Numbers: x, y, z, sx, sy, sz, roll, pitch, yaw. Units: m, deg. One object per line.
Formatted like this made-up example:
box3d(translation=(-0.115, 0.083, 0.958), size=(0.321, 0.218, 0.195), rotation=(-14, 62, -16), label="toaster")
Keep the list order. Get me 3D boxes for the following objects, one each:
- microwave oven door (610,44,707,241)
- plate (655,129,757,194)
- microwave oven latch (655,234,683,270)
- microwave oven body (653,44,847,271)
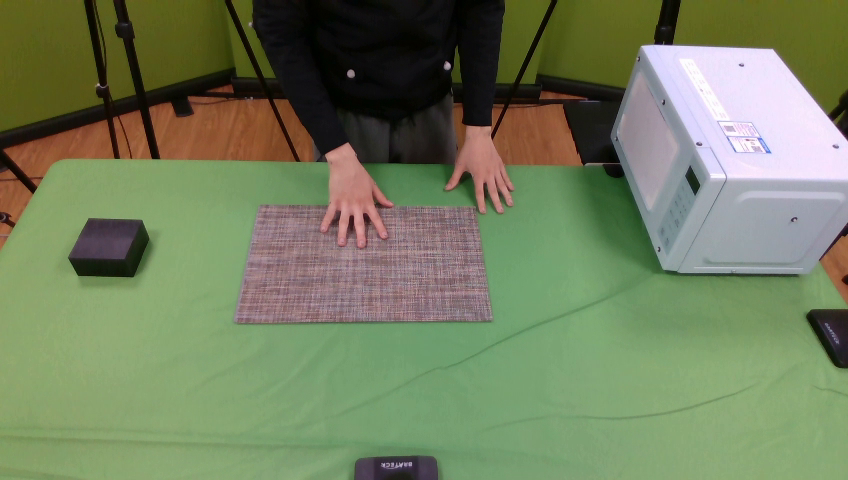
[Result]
box3d(translation=(0.473, -0.208, 1.250), size=(0.039, 0.245, 0.353), rotation=(0, 47, -3), label="microwave oven door")
box3d(translation=(0.601, -0.165, 1.305), size=(0.209, 0.038, 0.208), rotation=(1, 46, -1), label="plate")
box3d(translation=(0.473, 0.021, 1.175), size=(0.030, 0.029, 0.078), rotation=(2, 46, -1), label="microwave oven latch")
box3d(translation=(0.620, -0.172, 1.234), size=(0.326, 0.261, 0.439), rotation=(0, 46, -3), label="microwave oven body")
